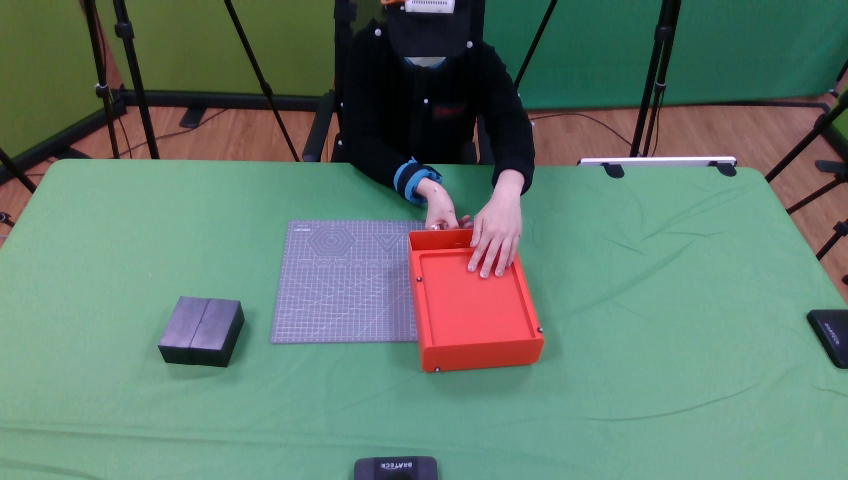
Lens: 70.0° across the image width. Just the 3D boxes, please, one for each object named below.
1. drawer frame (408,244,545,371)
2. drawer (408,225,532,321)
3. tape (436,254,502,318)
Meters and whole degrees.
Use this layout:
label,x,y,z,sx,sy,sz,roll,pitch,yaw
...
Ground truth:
label,x,y,z,sx,sy,sz,roll,pitch,yaw
drawer frame,0.083,0.111,1.050,0.202,0.083,0.212,-3,47,-8
drawer,0.077,0.073,1.086,0.195,0.073,0.210,-2,46,-7
tape,0.079,0.081,1.087,0.117,0.053,0.116,2,45,-2
